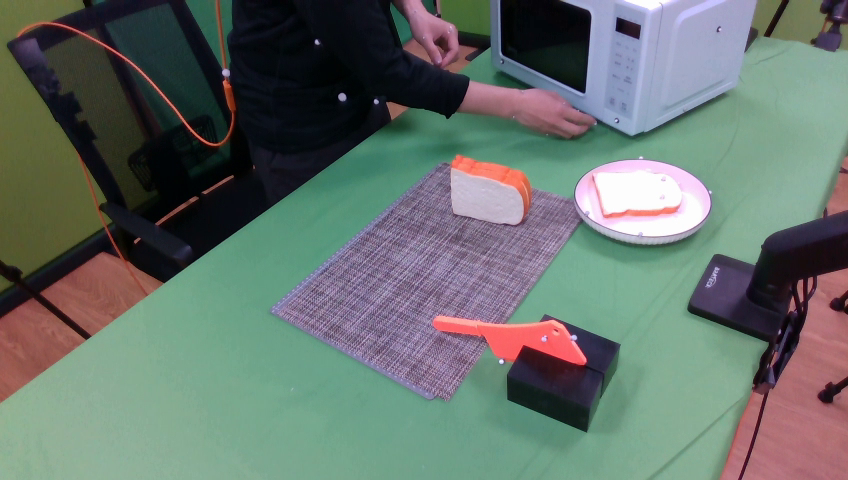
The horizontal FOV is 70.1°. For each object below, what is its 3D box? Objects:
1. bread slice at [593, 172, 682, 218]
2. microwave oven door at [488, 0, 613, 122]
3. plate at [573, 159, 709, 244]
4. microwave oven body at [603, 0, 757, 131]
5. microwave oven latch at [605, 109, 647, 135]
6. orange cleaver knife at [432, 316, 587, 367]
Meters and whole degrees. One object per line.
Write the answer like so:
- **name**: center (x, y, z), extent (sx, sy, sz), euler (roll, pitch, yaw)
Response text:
- **bread slice**: center (0.351, -0.076, 0.995), extent (0.134, 0.018, 0.106), euler (-4, 44, 1)
- **microwave oven door**: center (0.250, -0.412, 1.219), extent (0.039, 0.245, 0.352), euler (-27, 44, -21)
- **plate**: center (0.347, -0.059, 0.979), extent (0.207, 0.039, 0.206), euler (-4, 41, 4)
- **microwave oven body**: center (0.396, -0.448, 1.248), extent (0.327, 0.261, 0.437), euler (-27, 44, -21)
- **microwave oven latch**: center (0.378, -0.225, 1.139), extent (0.030, 0.029, 0.078), euler (-26, 43, -20)
- **orange cleaver knife**: center (0.101, 0.127, 0.761), extent (0.210, 0.077, 0.012), euler (-1, 34, 40)
